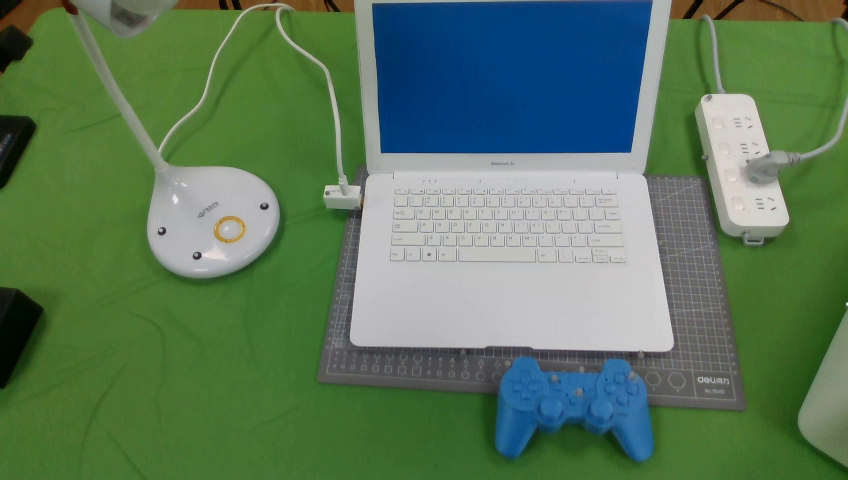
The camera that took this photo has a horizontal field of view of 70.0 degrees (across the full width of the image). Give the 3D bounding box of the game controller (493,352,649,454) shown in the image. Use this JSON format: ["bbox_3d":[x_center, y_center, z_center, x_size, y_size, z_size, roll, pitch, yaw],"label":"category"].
[{"bbox_3d":[0.147,0.162,0.612,0.155,0.052,0.096,1,57,3],"label":"game controller"}]

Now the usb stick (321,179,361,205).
[{"bbox_3d":[-0.096,-0.059,0.754,0.059,0.027,0.021,5,54,2],"label":"usb stick"}]

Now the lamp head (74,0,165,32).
[{"bbox_3d":[-0.241,-0.225,0.427,0.123,0.112,0.112,30,63,-7],"label":"lamp head"}]

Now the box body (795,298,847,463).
[{"bbox_3d":[0.555,0.091,0.567,0.252,0.162,0.363,33,67,20],"label":"box body"}]

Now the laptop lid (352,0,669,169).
[{"bbox_3d":[0.097,-0.190,0.718,0.356,0.243,0.013,-1,29,3],"label":"laptop lid"}]

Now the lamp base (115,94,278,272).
[{"bbox_3d":[-0.278,-0.076,0.693,0.178,0.182,0.160,27,64,20],"label":"lamp base"}]

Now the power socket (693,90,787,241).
[{"bbox_3d":[0.393,-0.103,0.762,0.072,0.033,0.225,2,60,3],"label":"power socket"}]

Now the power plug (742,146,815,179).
[{"bbox_3d":[0.420,-0.086,0.725,0.072,0.053,0.035,12,60,8],"label":"power plug"}]

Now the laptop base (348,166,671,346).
[{"bbox_3d":[0.095,0.013,0.717,0.354,0.023,0.233,0,63,3],"label":"laptop base"}]
